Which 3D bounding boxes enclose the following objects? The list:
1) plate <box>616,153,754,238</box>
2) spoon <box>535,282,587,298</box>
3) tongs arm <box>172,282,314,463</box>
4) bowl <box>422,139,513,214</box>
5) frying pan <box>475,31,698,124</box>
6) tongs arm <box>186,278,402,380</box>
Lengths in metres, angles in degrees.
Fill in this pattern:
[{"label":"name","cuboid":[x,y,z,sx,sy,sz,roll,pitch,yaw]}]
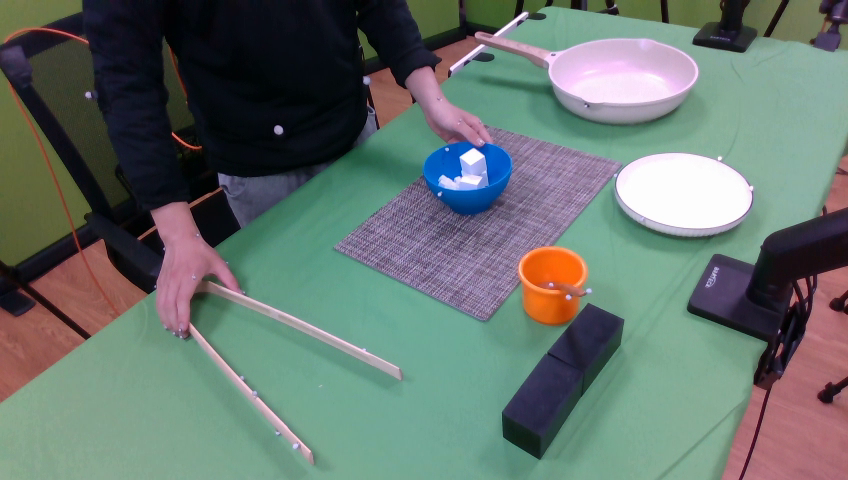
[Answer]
[{"label":"plate","cuboid":[0.416,-0.069,0.977,0.207,0.039,0.206,-4,40,4]},{"label":"spoon","cuboid":[0.176,0.063,0.774,0.041,0.194,0.021,-3,85,1]},{"label":"tongs arm","cuboid":[-0.246,0.161,0.806,0.381,0.026,0.051,29,51,36]},{"label":"bowl","cuboid":[0.075,-0.098,1.021,0.151,0.077,0.150,-4,40,4]},{"label":"frying pan","cuboid":[0.320,-0.371,1.290,0.485,0.103,0.307,28,50,23]},{"label":"tongs arm","cuboid":[-0.194,0.120,0.853,0.385,0.028,0.028,18,49,27]}]
